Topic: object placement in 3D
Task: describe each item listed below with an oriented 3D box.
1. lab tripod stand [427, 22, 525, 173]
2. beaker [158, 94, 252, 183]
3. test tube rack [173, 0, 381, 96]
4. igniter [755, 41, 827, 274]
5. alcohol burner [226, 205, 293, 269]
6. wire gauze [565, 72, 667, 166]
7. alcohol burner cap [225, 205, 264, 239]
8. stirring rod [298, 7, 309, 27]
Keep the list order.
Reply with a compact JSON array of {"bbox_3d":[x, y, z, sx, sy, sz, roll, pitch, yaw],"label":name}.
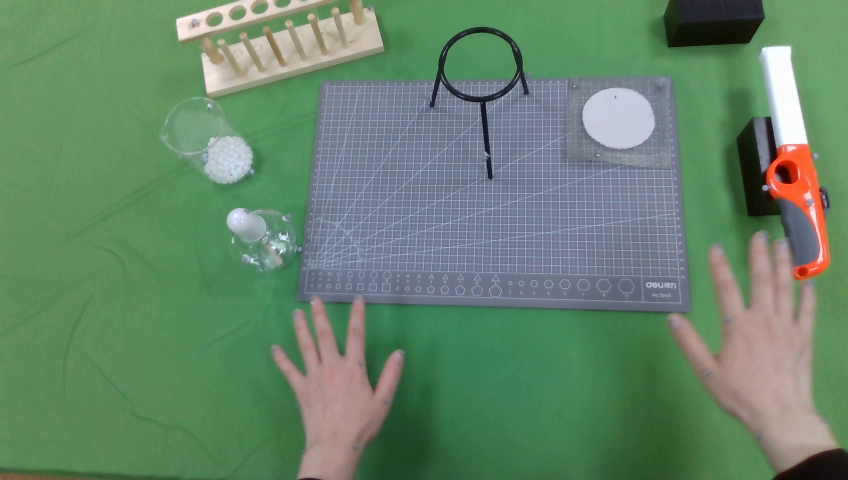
[{"bbox_3d":[0.065,-0.169,0.700,0.148,0.132,0.147,-1,74,4],"label":"lab tripod stand"},{"bbox_3d":[-0.262,-0.118,0.739,0.084,0.101,0.073,-12,71,3],"label":"beaker"},{"bbox_3d":[-0.185,-0.268,0.785,0.242,0.086,0.066,-15,72,1],"label":"test tube rack"},{"bbox_3d":[0.392,-0.095,0.652,0.057,0.025,0.274,0,70,9],"label":"igniter"},{"bbox_3d":[-0.193,-0.010,0.691,0.078,0.120,0.077,-1,70,5],"label":"alcohol burner"},{"bbox_3d":[0.236,-0.153,0.743,0.125,0.011,0.121,6,73,5],"label":"wire gauze"},{"bbox_3d":[-0.198,-0.021,0.657,0.034,0.048,0.033,-1,75,5],"label":"alcohol burner cap"},{"bbox_3d":[-0.157,-0.324,0.716,0.014,0.177,0.006,8,61,8],"label":"stirring rod"}]
